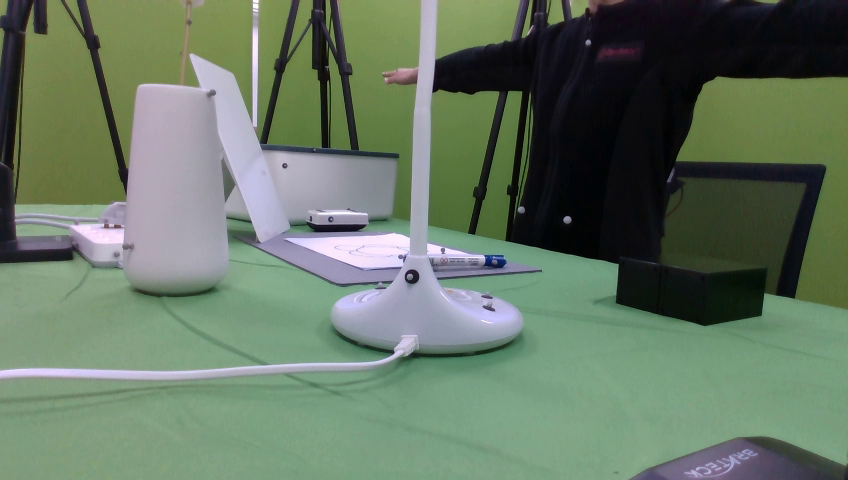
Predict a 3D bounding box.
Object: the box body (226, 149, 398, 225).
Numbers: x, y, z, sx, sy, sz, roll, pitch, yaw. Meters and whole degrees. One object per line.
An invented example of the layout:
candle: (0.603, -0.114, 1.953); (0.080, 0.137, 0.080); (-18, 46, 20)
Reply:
box body: (-0.265, -0.129, 1.380); (0.253, 0.160, 0.366); (8, 9, 39)

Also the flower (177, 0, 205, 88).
flower: (-0.243, -0.131, 0.609); (0.044, 0.361, 0.038); (-5, -12, 12)

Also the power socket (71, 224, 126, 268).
power socket: (-0.409, 0.004, 0.793); (0.072, 0.032, 0.225); (-2, 8, -37)

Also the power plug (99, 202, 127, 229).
power plug: (-0.415, -0.026, 0.848); (0.073, 0.052, 0.035); (6, 5, -28)

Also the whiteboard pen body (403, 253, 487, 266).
whiteboard pen body: (0.040, 0.026, 0.785); (0.141, 0.017, 0.017); (1, 7, -24)

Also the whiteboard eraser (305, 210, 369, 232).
whiteboard eraser: (-0.168, -0.038, 1.172); (0.113, 0.042, 0.055); (-3, 8, -35)

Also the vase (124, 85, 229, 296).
vase: (-0.244, -0.047, 0.598); (0.098, 0.200, 0.098); (3, 8, 0)

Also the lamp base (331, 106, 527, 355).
lamp base: (0.006, -0.012, 0.478); (0.161, 0.180, 0.179); (2, 10, 2)

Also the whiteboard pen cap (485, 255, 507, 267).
whiteboard pen cap: (0.093, 0.028, 0.810); (0.033, 0.018, 0.018); (1, 7, -24)

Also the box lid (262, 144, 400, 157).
box lid: (-0.263, -0.203, 1.369); (0.262, 0.015, 0.373); (9, 10, 39)

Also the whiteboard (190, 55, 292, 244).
whiteboard: (-0.363, -0.129, 1.028); (0.144, 0.305, 0.217); (-18, 7, 3)
